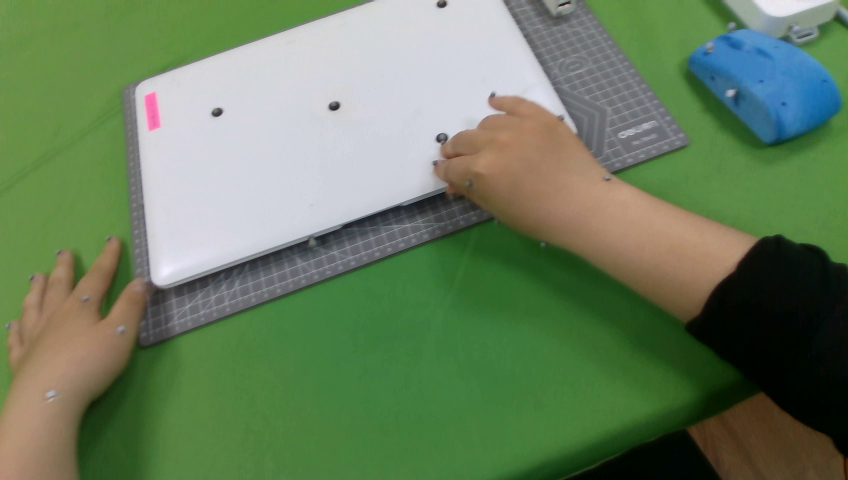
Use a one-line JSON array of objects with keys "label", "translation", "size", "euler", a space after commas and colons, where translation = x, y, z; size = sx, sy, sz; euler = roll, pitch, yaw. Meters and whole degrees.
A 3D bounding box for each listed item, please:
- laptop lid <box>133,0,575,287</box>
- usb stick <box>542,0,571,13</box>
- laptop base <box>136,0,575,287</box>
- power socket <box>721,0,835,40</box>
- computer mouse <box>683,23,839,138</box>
[{"label": "laptop lid", "translation": [-0.078, -0.115, 0.526], "size": [0.357, 0.013, 0.239], "euler": [-19, 61, -1]}, {"label": "usb stick", "translation": [0.117, -0.244, 0.572], "size": [0.021, 0.027, 0.058], "euler": [-22, 56, 1]}, {"label": "laptop base", "translation": [-0.076, -0.111, 0.537], "size": [0.354, 0.023, 0.233], "euler": [-20, 62, -2]}, {"label": "power socket", "translation": [0.285, -0.269, 0.556], "size": [0.072, 0.033, 0.224], "euler": [-19, 58, -1]}, {"label": "computer mouse", "translation": [0.263, -0.133, 0.477], "size": [0.063, 0.041, 0.116], "euler": [-26, 54, -3]}]
